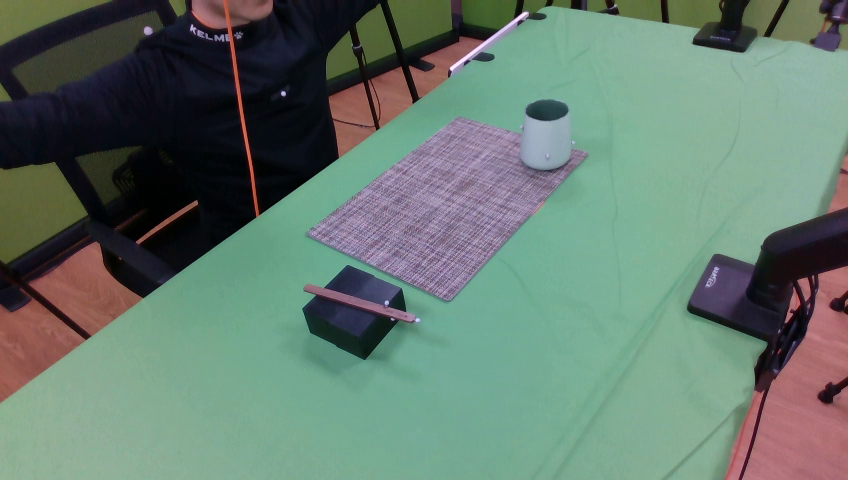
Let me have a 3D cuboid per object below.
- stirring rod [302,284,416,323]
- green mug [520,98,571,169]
[{"bbox_3d":[-0.091,0.085,0.819,0.175,0.006,0.014,13,48,22],"label":"stirring rod"},{"bbox_3d":[0.216,-0.200,1.100,0.093,0.105,0.124,-14,41,-6],"label":"green mug"}]
